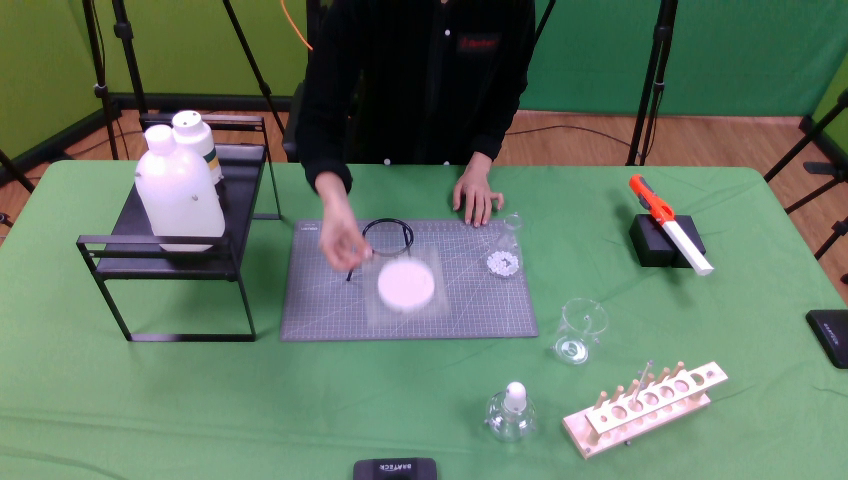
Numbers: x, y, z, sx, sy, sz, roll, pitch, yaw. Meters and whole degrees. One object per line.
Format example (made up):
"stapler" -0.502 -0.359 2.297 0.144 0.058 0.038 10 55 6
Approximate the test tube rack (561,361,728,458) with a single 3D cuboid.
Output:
"test tube rack" 0.341 0.248 0.940 0.243 0.085 0.066 -15 49 -18

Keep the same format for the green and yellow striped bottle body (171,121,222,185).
"green and yellow striped bottle body" -0.375 -0.149 0.995 0.063 0.120 0.063 2 46 -2

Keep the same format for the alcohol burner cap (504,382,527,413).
"alcohol burner cap" 0.132 0.225 0.877 0.034 0.048 0.033 -4 47 4

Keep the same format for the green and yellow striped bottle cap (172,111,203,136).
"green and yellow striped bottle cap" -0.374 -0.185 0.958 0.045 0.020 0.045 4 46 -4

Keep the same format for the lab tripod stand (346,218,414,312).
"lab tripod stand" -0.070 0.037 1.075 0.148 0.132 0.147 1 48 -1

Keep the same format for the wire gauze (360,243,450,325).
"wire gauze" -0.031 0.061 0.899 0.121 0.011 0.124 -7 60 -6

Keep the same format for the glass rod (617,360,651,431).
"glass rod" 0.298 0.227 0.865 0.008 0.201 0.008 -1 48 2

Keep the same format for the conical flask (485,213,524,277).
"conical flask" 0.157 0.007 1.129 0.075 0.122 0.075 2 46 -2

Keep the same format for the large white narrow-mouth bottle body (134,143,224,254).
"large white narrow-mouth bottle body" -0.358 -0.075 0.875 0.102 0.195 0.101 2 48 -1

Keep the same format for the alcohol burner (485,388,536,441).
"alcohol burner" 0.131 0.249 0.904 0.078 0.120 0.077 1 48 -1

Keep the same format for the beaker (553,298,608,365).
"beaker" 0.260 0.154 1.015 0.073 0.101 0.084 37 54 27

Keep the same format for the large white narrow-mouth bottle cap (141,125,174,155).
"large white narrow-mouth bottle cap" -0.356 -0.134 0.810 0.038 0.024 0.037 2 48 -2

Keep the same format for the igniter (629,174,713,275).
"igniter" 0.481 -0.040 1.202 0.057 0.025 0.274 -2 46 -21
